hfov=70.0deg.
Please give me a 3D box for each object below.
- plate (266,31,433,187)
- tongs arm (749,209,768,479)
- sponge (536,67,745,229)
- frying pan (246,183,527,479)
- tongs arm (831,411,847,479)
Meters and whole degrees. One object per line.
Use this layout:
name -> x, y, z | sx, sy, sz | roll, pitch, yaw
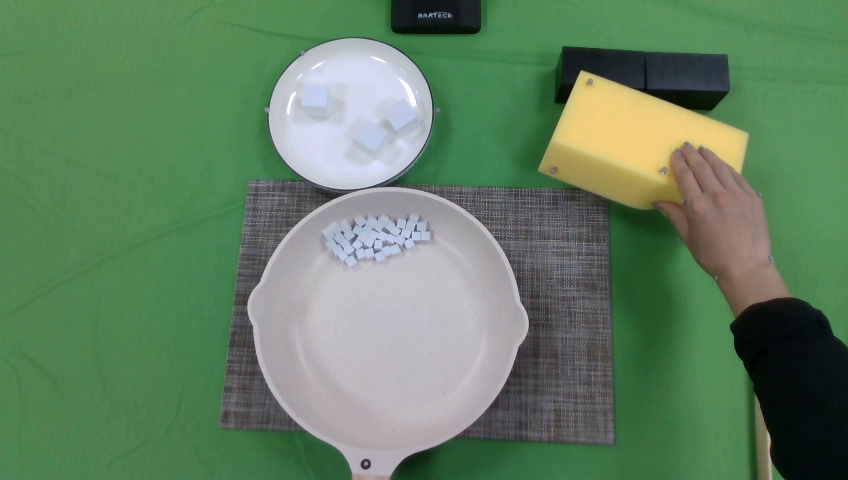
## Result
plate -> -0.092, -0.163, 0.767 | 0.207, 0.039, 0.206 | 0, 77, 2
tongs arm -> 0.388, 0.152, 0.688 | 0.028, 0.028, 0.385 | 5, 77, 1
sponge -> 0.250, -0.108, 0.704 | 0.206, 0.061, 0.117 | 22, 61, 6
frying pan -> -0.050, 0.178, 0.648 | 0.307, 0.103, 0.484 | 5, 69, 4
tongs arm -> 0.467, 0.169, 0.677 | 0.050, 0.026, 0.383 | 17, 79, 7
